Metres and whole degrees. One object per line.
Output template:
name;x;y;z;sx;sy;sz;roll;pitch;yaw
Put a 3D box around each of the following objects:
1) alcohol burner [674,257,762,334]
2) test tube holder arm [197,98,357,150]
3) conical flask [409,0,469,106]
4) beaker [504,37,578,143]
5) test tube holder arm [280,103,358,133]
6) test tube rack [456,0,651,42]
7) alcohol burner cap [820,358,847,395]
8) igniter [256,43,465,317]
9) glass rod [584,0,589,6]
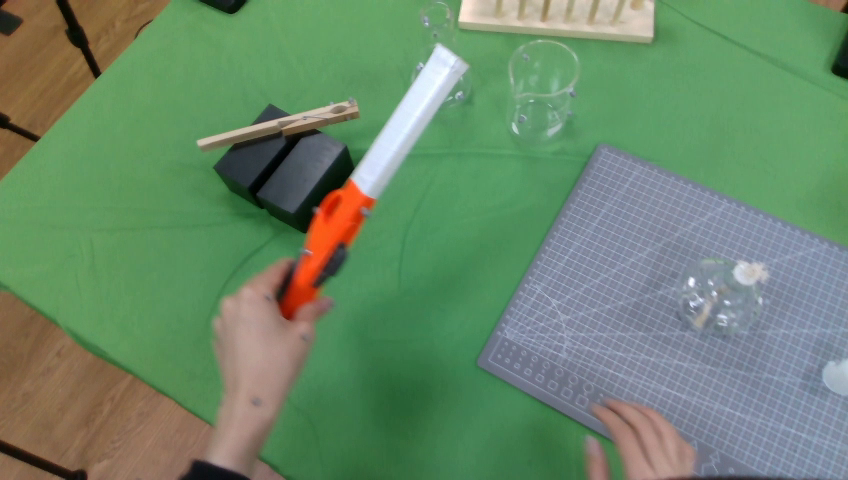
alcohol burner;0.282;0.046;0.569;0.078;0.120;0.077;-1;67;2
test tube holder arm;-0.162;-0.129;0.675;0.178;0.015;0.013;-15;66;-3
conical flask;0.015;-0.218;0.698;0.075;0.123;0.075;-1;66;4
beaker;0.125;-0.161;0.679;0.084;0.101;0.073;-42;70;-13
test tube holder arm;-0.117;-0.136;0.676;0.088;0.015;0.010;-14;66;-3
test tube rack;0.163;-0.308;0.747;0.242;0.086;0.066;7;67;7
alcohol burner cap;0.400;0.125;0.567;0.034;0.048;0.033;-1;67;3
igniter;-0.062;-0.038;0.501;0.277;0.025;0.056;-52;49;17
glass rod;0.197;-0.353;0.691;0.008;0.201;0.008;-3;58;5
